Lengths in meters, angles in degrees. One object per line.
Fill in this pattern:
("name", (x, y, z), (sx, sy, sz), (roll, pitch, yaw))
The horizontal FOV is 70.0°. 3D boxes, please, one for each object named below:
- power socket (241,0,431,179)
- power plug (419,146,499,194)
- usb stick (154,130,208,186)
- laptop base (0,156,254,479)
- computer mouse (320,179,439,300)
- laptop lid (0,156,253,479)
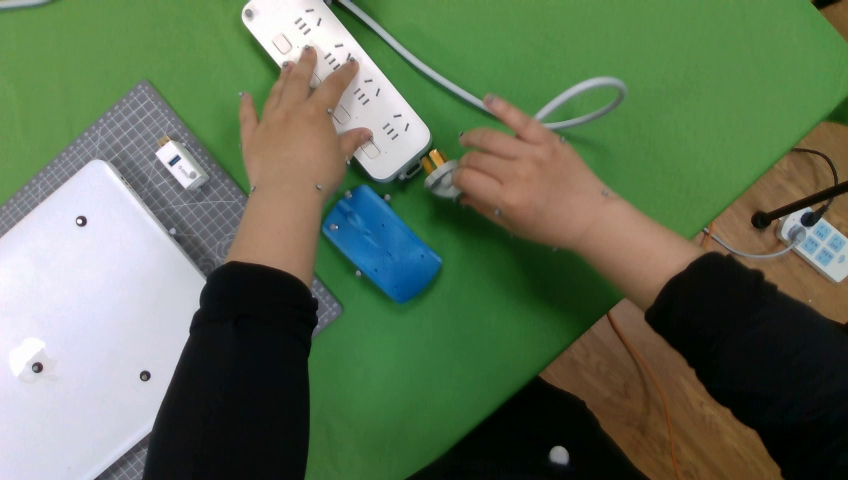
("power socket", (-0.082, -0.156, 0.571), (0.072, 0.032, 0.226), (-39, 90, 4))
("power plug", (0.030, -0.072, 0.536), (0.072, 0.035, 0.052), (-38, 79, 18))
("usb stick", (-0.236, -0.080, 0.577), (0.021, 0.027, 0.059), (-39, 90, 5))
("laptop base", (-0.368, 0.116, 0.592), (0.354, 0.023, 0.236), (-40, 94, 2))
("computer mouse", (-0.044, -0.001, 0.572), (0.117, 0.041, 0.063), (45, 95, 5))
("laptop lid", (-0.367, 0.118, 0.581), (0.356, 0.013, 0.242), (-38, 93, 2))
